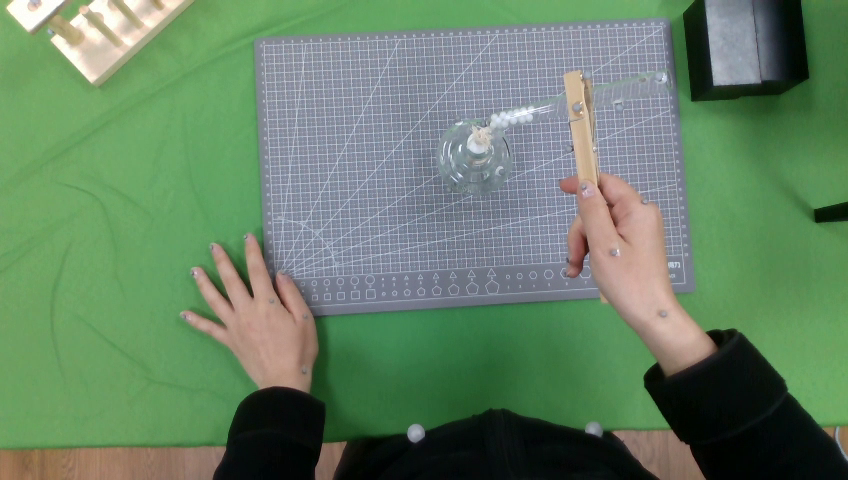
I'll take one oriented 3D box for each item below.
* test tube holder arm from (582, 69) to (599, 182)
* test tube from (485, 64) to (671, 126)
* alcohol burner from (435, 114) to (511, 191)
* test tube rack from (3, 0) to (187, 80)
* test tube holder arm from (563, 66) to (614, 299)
[{"bbox_3d":[0.125,-0.087,0.469,0.015,0.010,0.087,-7,84,38],"label":"test tube holder arm"},{"bbox_3d":[0.113,-0.109,0.470,0.149,0.017,0.017,-6,85,36],"label":"test tube"},{"bbox_3d":[0.049,-0.089,0.589,0.078,0.119,0.077,0,84,0],"label":"alcohol burner"},{"bbox_3d":[-0.281,-0.278,0.607,0.242,0.085,0.066,-44,88,-4],"label":"test tube rack"},{"bbox_3d":[0.127,-0.042,0.465,0.015,0.013,0.178,-7,93,38],"label":"test tube holder arm"}]
